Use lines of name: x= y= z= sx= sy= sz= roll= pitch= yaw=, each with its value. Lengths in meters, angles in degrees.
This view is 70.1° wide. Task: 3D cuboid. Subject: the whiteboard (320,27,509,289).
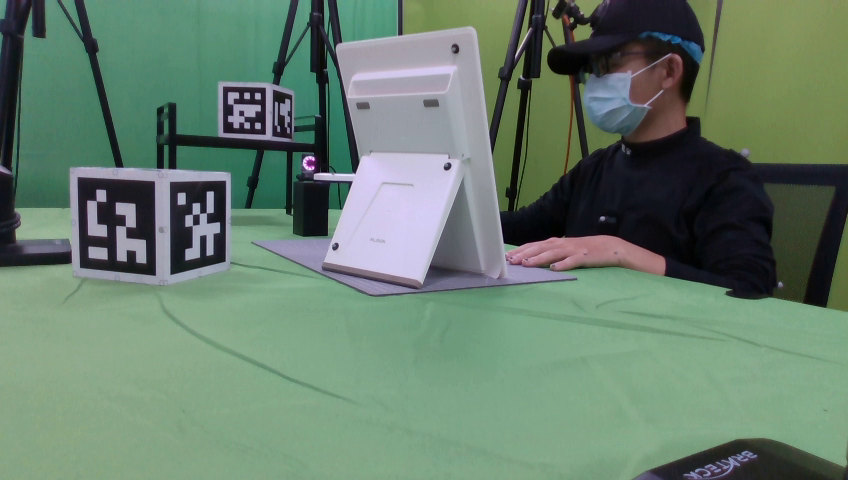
whiteboard: x=-0.045 y=-0.076 z=0.721 sx=0.216 sy=0.305 sz=0.144 roll=9 pitch=29 yaw=39

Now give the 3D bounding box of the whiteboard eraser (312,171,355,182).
whiteboard eraser: x=-0.164 y=-0.122 z=1.163 sx=0.102 sy=0.019 sz=0.041 roll=0 pitch=7 yaw=-28
